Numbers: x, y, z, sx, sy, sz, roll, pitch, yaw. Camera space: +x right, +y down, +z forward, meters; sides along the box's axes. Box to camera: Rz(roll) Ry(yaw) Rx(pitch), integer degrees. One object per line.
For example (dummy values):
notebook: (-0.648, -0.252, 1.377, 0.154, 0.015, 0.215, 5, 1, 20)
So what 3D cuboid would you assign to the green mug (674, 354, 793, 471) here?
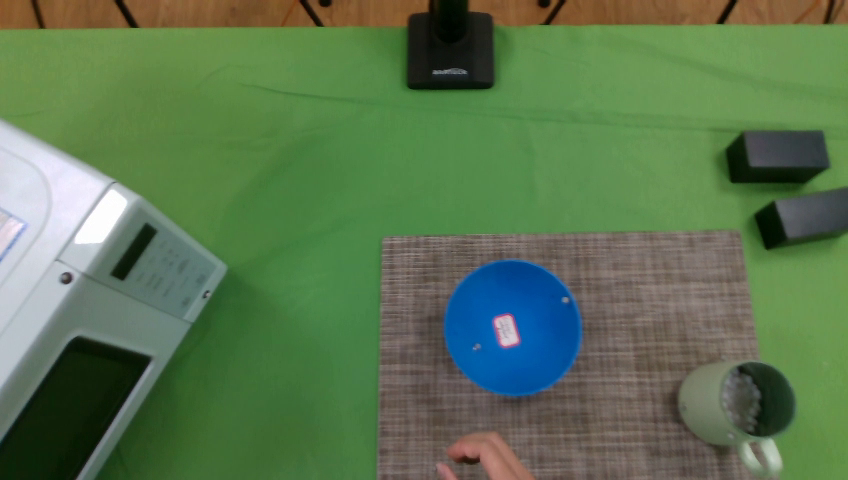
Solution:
green mug: (0.336, 0.183, 0.650, 0.092, 0.105, 0.124, -18, 74, -5)

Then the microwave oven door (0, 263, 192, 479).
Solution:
microwave oven door: (-0.372, 0.203, 0.564, 0.039, 0.245, 0.354, 26, 75, 9)

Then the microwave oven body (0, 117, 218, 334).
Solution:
microwave oven body: (-0.483, 0.105, 0.599, 0.325, 0.261, 0.440, 26, 76, 8)

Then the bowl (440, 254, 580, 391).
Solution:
bowl: (0.093, 0.098, 0.691, 0.151, 0.077, 0.150, 0, 73, 1)

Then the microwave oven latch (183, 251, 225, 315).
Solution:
microwave oven latch: (-0.268, 0.047, 0.715, 0.030, 0.029, 0.079, 28, 76, 8)
